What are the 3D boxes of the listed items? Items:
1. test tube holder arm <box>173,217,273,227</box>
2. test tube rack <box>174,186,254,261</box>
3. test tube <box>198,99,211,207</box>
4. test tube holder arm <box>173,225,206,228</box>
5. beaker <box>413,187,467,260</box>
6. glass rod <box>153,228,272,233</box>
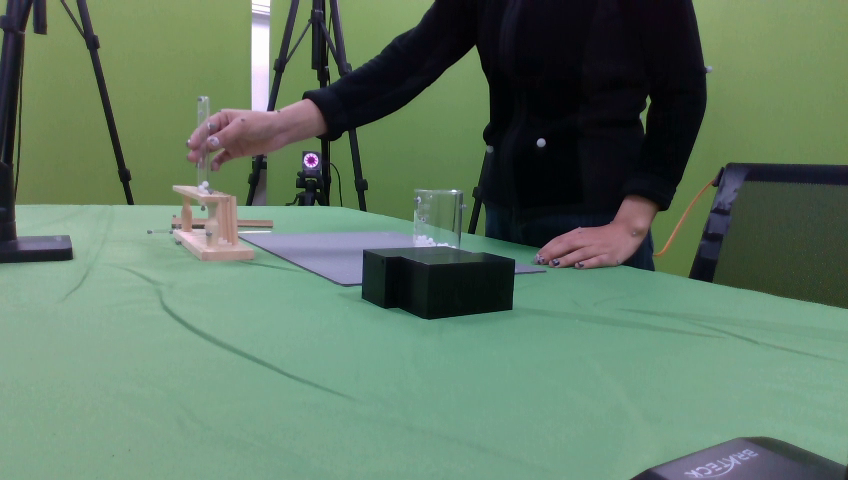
[{"bbox_3d":[-0.372,-0.032,1.128,0.179,0.015,0.013,0,-23,-26],"label":"test tube holder arm"},{"bbox_3d":[-0.314,-0.031,0.889,0.067,0.085,0.241,-2,9,-30],"label":"test tube rack"},{"bbox_3d":[-0.305,-0.120,0.840,0.017,0.150,0.017,0,1,0],"label":"test tube"},{"bbox_3d":[-0.415,-0.030,1.113,0.088,0.015,0.010,-1,-23,-25],"label":"test tube holder arm"},{"bbox_3d":[0.019,-0.025,0.878,0.074,0.100,0.083,-1,7,-27],"label":"beaker"},{"bbox_3d":[-0.368,-0.017,1.065,0.201,0.008,0.008,-2,8,-27],"label":"glass rod"}]
